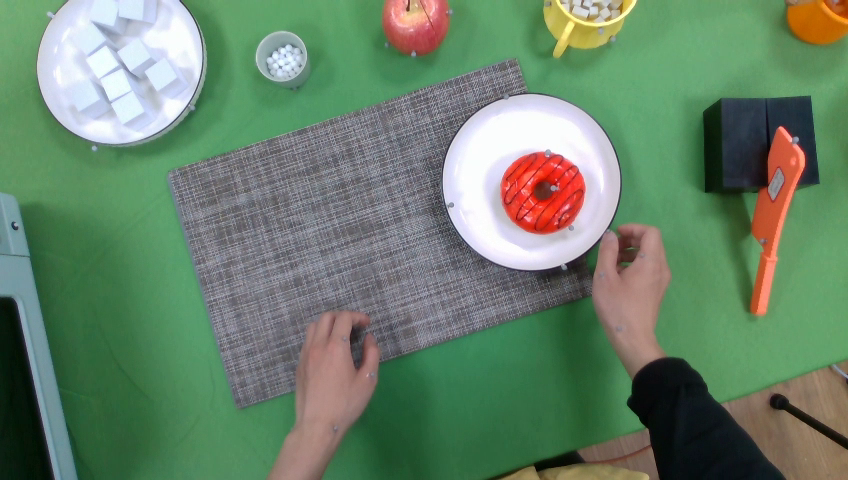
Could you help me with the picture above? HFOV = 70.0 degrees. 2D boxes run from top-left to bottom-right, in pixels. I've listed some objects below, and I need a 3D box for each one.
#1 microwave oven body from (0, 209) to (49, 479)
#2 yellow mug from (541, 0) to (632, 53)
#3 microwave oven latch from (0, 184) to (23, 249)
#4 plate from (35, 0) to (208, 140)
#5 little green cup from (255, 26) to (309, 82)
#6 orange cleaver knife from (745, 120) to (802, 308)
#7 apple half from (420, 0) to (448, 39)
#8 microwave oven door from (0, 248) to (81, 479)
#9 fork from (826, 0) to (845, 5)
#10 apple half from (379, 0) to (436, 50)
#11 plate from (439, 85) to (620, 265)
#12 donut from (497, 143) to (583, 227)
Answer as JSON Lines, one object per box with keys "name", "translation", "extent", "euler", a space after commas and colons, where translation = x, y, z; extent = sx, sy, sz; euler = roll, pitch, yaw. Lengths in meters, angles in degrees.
{"name": "microwave oven body", "translation": [-0.603, 0.175, 0.611], "extent": [0.326, 0.260, 0.441], "euler": [-15, 86, 1]}
{"name": "yellow mug", "translation": [0.184, -0.278, 0.710], "extent": [0.100, 0.064, 0.131], "euler": [30, 89, 4]}
{"name": "microwave oven latch", "translation": [-0.502, -0.027, 0.716], "extent": [0.030, 0.029, 0.079], "euler": [-13, 87, 1]}
{"name": "plate", "translation": [-0.364, -0.222, 0.741], "extent": [0.207, 0.039, 0.207], "euler": [0, 86, 2]}
{"name": "little green cup", "translation": [-0.170, -0.222, 0.734], "extent": [0.061, 0.039, 0.061], "euler": [0, 86, 3]}
{"name": "orange cleaver knife", "translation": [0.383, -0.025, 0.679], "extent": [0.012, 0.076, 0.213], "euler": [2, 116, 6]}
{"name": "apple half", "translation": [0.011, -0.278, 0.713], "extent": [0.033, 0.081, 0.081], "euler": [-27, 85, 5]}
{"name": "microwave oven door", "translation": [-0.451, 0.177, 0.600], "extent": [0.039, 0.244, 0.355], "euler": [-16, 86, 1]}
{"name": "fork", "translation": [0.428, -0.269, 0.658], "extent": [0.208, 0.018, 0.028], "euler": [-20, 85, -43]}
{"name": "apple half", "translation": [-0.024, -0.260, 0.714], "extent": [0.053, 0.074, 0.081], "euler": [-27, 89, 5]}
{"name": "plate", "translation": [0.121, -0.074, 0.710], "extent": [0.209, 0.038, 0.208], "euler": [0, 86, 3]}
{"name": "donut", "translation": [0.133, -0.063, 0.698], "extent": [0.099, 0.048, 0.099], "euler": [0, 87, 3]}
